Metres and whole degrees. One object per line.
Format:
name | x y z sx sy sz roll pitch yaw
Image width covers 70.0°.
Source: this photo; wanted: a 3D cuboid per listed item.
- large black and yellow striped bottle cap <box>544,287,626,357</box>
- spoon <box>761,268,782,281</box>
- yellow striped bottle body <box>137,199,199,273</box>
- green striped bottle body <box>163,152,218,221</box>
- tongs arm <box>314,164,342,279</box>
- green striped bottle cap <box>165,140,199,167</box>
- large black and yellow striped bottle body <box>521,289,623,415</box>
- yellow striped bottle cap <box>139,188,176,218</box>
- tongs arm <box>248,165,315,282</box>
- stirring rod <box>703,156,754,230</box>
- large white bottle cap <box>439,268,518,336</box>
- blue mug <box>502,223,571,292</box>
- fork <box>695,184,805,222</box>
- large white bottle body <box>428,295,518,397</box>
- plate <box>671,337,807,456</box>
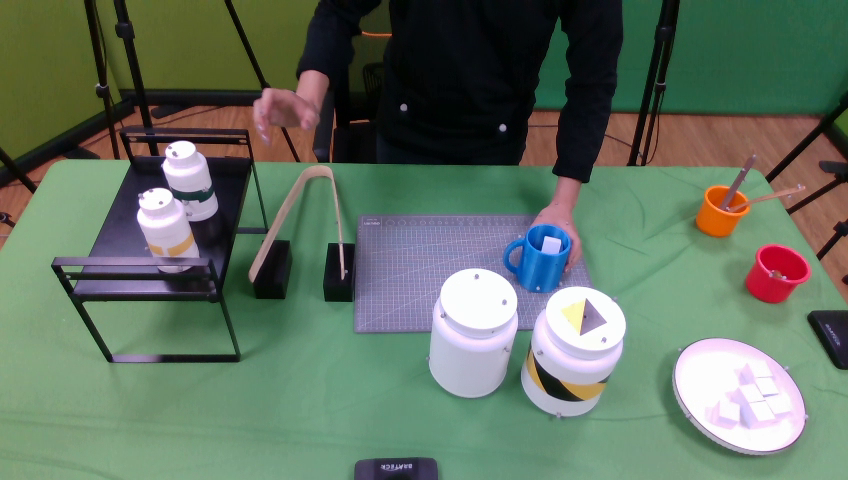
large black and yellow striped bottle cap | 0.232 0.116 0.876 0.115 0.019 0.114 2 46 -1
spoon | 0.638 0.060 1.105 0.041 0.021 0.194 38 11 24
yellow striped bottle body | -0.366 -0.014 0.864 0.063 0.121 0.062 2 46 -2
green striped bottle body | -0.363 -0.092 0.939 0.063 0.120 0.063 2 46 -2
tongs arm | -0.188 -0.049 1.171 0.051 0.026 0.382 -5 35 -6
green striped bottle cap | -0.360 -0.128 0.902 0.044 0.020 0.044 2 47 -2
large black and yellow striped bottle body | 0.228 0.173 0.938 0.131 0.185 0.130 2 47 -2
yellow striped bottle cap | -0.363 -0.051 0.826 0.044 0.019 0.044 1 47 -1
tongs arm | -0.270 -0.047 1.165 0.028 0.028 0.385 -1 34 7
stirring rod | 0.631 -0.098 1.258 0.014 0.006 0.176 33 95 29
large white bottle cap | 0.080 0.089 0.888 0.115 0.018 0.114 2 47 -2
blue mug | 0.202 0.031 1.121 0.116 0.106 0.082 5 47 1
fork | 0.657 -0.075 1.230 0.207 0.019 0.028 -23 34 37
large white bottle body | 0.076 0.147 0.950 0.131 0.185 0.130 2 46 -2
plate | 0.503 0.254 0.984 0.208 0.039 0.206 2 46 -2
